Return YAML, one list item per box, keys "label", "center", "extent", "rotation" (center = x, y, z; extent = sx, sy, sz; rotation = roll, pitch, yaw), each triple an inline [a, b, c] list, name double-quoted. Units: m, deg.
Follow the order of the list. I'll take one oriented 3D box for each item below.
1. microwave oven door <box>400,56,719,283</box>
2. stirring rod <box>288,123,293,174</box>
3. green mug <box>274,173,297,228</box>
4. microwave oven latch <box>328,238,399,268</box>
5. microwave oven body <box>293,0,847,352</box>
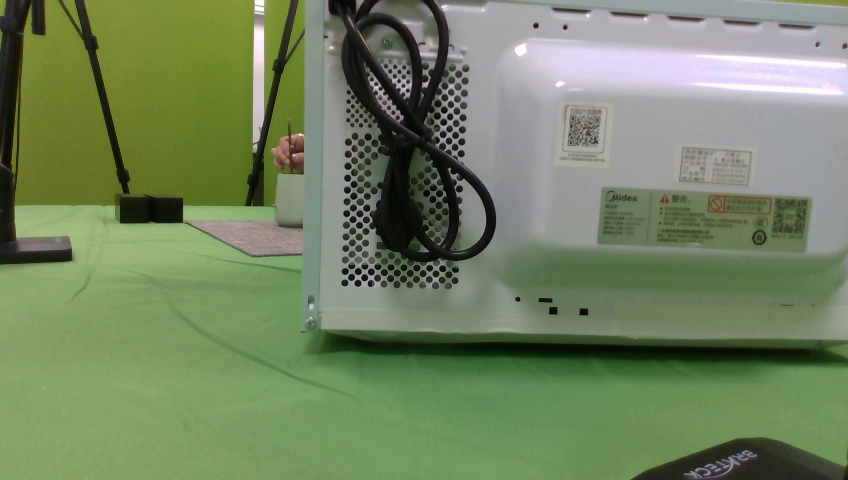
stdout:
- label: "microwave oven door"
  center: [0.155, -0.078, 0.697]
  extent: [0.356, 0.243, 0.039]
  rotation: [2, 8, -5]
- label: "stirring rod"
  center: [-0.259, -0.140, 1.179]
  extent: [0.006, 0.176, 0.014]
  rotation: [-2, 6, -9]
- label: "green mug"
  center: [-0.242, -0.081, 1.221]
  extent: [0.092, 0.105, 0.126]
  rotation: [8, 10, 40]
- label: "microwave oven latch"
  center: [-0.069, 0.015, 0.694]
  extent: [0.079, 0.029, 0.030]
  rotation: [3, 7, -3]
- label: "microwave oven body"
  center: [0.122, -0.055, 0.550]
  extent: [0.442, 0.260, 0.325]
  rotation: [3, 7, -5]
